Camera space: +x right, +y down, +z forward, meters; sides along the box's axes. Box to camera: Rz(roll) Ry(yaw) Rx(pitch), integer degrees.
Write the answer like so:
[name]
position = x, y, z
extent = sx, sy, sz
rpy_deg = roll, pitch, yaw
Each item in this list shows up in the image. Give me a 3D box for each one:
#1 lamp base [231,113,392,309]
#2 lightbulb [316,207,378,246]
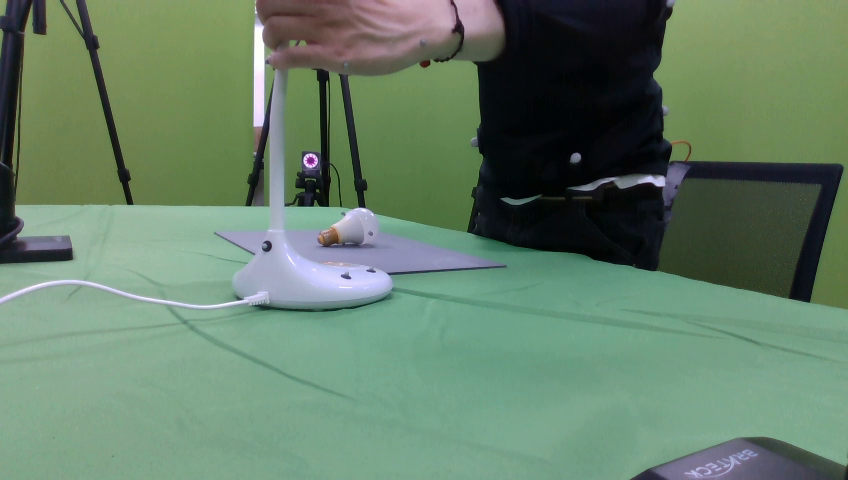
[lamp base]
position = -0.114, -0.032, 0.594
extent = 0.160, 0.180, 0.179
rpy_deg = 4, 10, 17
[lightbulb]
position = -0.123, -0.016, 0.967
extent = 0.108, 0.059, 0.059
rpy_deg = -21, 20, -33
